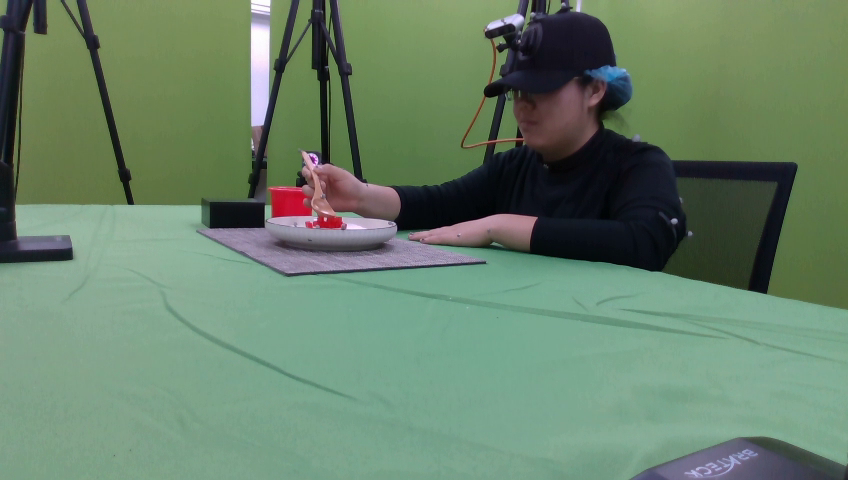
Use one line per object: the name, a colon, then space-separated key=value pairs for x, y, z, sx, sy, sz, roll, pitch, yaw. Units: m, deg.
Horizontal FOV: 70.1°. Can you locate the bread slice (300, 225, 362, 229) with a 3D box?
bread slice: x=-0.154 y=-0.012 z=0.973 sx=0.132 sy=0.019 sz=0.104 roll=-1 pitch=7 yaw=-31

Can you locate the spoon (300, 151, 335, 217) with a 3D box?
spoon: x=-0.184 y=-0.097 z=1.019 sx=0.042 sy=0.021 sz=0.193 roll=15 pitch=35 yaw=-35

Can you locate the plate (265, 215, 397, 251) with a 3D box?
plate: x=-0.147 y=-0.012 z=0.963 sx=0.209 sy=0.038 sz=0.209 roll=3 pitch=7 yaw=0
